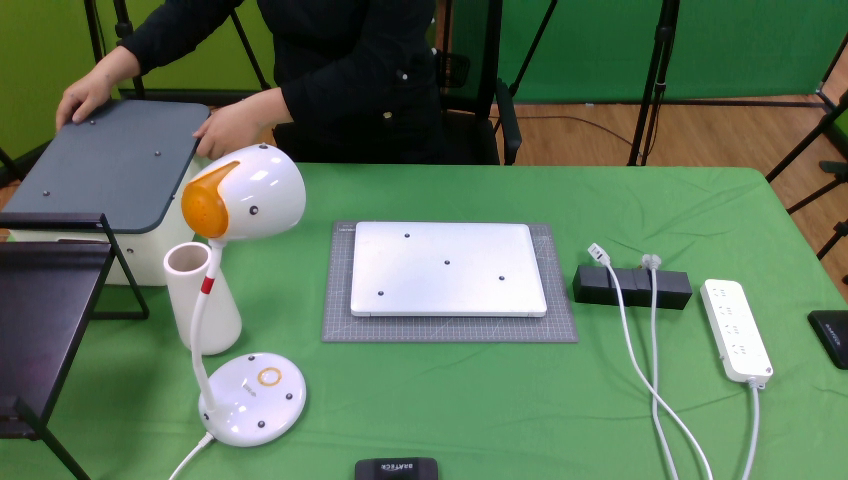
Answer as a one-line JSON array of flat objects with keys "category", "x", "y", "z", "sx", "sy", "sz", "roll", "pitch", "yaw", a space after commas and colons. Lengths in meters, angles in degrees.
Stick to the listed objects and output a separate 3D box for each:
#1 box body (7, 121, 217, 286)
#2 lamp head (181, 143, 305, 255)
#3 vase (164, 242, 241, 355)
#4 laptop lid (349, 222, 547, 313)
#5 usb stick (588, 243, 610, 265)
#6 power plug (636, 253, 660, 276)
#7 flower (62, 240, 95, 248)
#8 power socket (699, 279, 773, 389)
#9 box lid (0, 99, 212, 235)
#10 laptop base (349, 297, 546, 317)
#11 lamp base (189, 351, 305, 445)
[{"category": "box body", "x": -0.560, "y": -0.093, "z": 1.145, "sx": 0.254, "sy": 0.161, "sz": 0.361, "roll": 3, "pitch": 46, "yaw": -2}, {"category": "lamp head", "x": -0.216, "y": -0.044, "z": 0.697, "sx": 0.112, "sy": 0.113, "sz": 0.123, "roll": 23, "pitch": 31, "yaw": 17}, {"category": "vase", "x": -0.349, "y": 0.096, "z": 0.954, "sx": 0.098, "sy": 0.201, "sz": 0.097, "roll": 3, "pitch": 47, "yaw": -3}, {"category": "laptop lid", "x": 0.041, "y": 0.045, "z": 1.143, "sx": 0.357, "sy": 0.013, "sz": 0.240, "roll": 2, "pitch": 43, "yaw": -3}, {"category": "usb stick", "x": 0.336, "y": 0.024, "z": 1.172, "sx": 0.027, "sy": 0.021, "sz": 0.059, "roll": 33, "pitch": 17, "yaw": -12}, {"category": "power plug", "x": 0.415, "y": 0.050, "z": 1.139, "sx": 0.035, "sy": 0.053, "sz": 0.072, "roll": 46, "pitch": 49, "yaw": 10}, {"category": "flower", "x": -0.557, "y": -0.053, "z": 1.195, "sx": 0.044, "sy": 0.038, "sz": 0.361, "roll": 47, "pitch": 54, "yaw": 1}, {"category": "power socket", "x": 0.551, "y": 0.157, "z": 1.081, "sx": 0.072, "sy": 0.033, "sz": 0.225, "roll": 5, "pitch": 46, "yaw": 1}, {"category": "box lid", "x": -0.556, "y": -0.143, "z": 1.090, "sx": 0.263, "sy": 0.015, "sz": 0.369, "roll": 2, "pitch": 46, "yaw": -1}, {"category": "laptop base", "x": 0.040, "y": 0.055, "z": 1.149, "sx": 0.355, "sy": 0.023, "sz": 0.234, "roll": 1, "pitch": 42, "yaw": -4}, {"category": "lamp base", "x": -0.268, "y": 0.196, "z": 0.876, "sx": 0.160, "sy": 0.181, "sz": 0.179, "roll": 26, "pitch": 52, "yaw": 20}]
